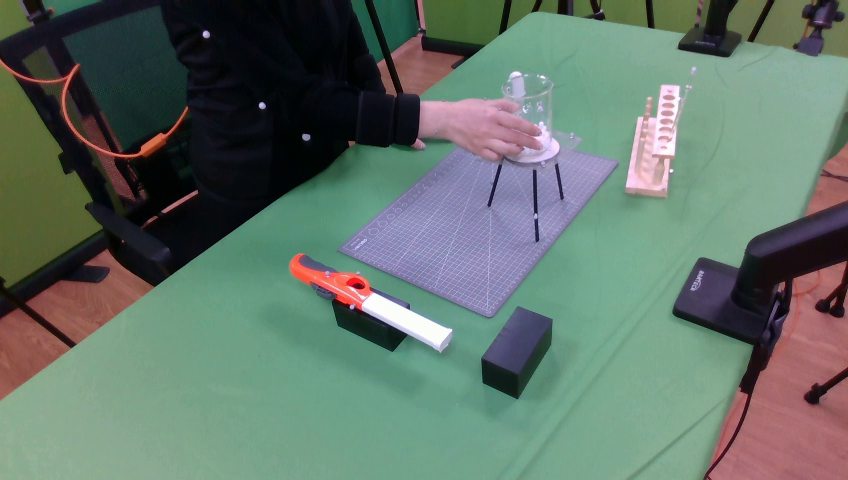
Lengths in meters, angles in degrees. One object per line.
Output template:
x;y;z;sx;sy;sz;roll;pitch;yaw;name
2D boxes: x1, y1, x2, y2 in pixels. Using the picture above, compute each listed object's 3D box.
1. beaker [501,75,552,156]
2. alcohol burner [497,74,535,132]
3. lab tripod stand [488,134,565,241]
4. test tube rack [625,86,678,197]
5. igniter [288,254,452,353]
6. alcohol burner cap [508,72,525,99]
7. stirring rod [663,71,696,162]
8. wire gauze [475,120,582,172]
0.157;-0.185;0.899;0.084;0.101;0.073;-33;45;-26;beaker
0.184;-0.278;1.210;0.078;0.119;0.077;-3;42;3;alcohol burner
0.169;-0.092;0.972;0.148;0.132;0.147;-5;41;5;lab tripod stand
0.412;-0.184;1.088;0.066;0.085;0.242;9;43;18;test tube rack
-0.083;0.080;0.818;0.274;0.025;0.057;23;46;27;igniter
0.181;-0.306;1.186;0.034;0.048;0.033;-7;39;6;alcohol burner cap
0.411;-0.196;0.981;0.014;0.177;0.006;11;50;13;stirring rod
0.161;-0.143;0.928;0.120;0.011;0.125;20;47;31;wire gauze
